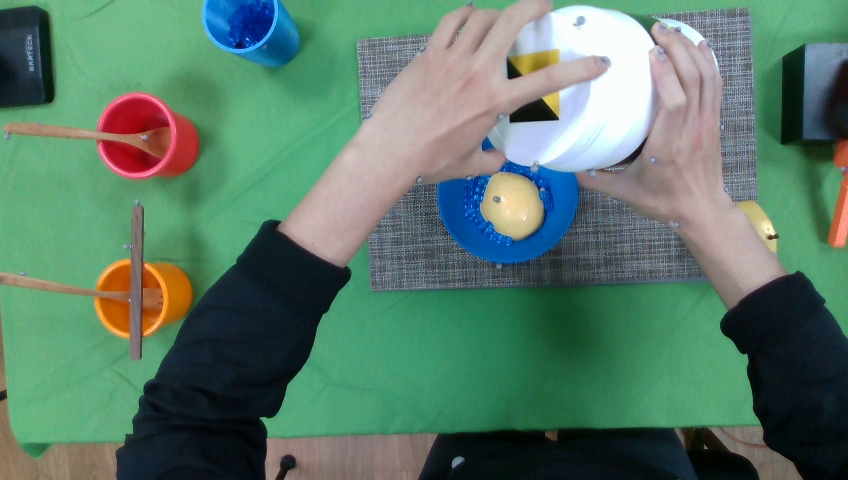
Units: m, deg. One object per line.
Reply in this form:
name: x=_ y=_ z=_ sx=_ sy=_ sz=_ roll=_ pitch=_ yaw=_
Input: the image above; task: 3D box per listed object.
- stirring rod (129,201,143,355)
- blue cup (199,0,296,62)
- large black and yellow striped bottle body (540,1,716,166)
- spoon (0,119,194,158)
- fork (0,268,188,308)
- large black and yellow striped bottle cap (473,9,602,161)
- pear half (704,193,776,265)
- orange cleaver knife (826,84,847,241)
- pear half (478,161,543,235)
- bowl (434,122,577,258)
stirring rod: x=-0.326 y=0.043 z=0.686 sx=0.014 sy=0.006 sz=0.176 roll=2 pitch=93 yaw=4
blue cup: x=-0.191 y=-0.245 z=0.688 sx=0.092 sy=0.100 sz=0.092 roll=0 pitch=92 yaw=8
large black and yellow striped bottle body: x=0.151 y=-0.133 z=0.524 sx=0.129 sy=0.185 sz=0.131 roll=16 pitch=111 yaw=48
spoon: x=-0.364 y=-0.122 z=0.689 sx=0.195 sy=0.021 sz=0.041 roll=1 pitch=95 yaw=-38
fork: x=-0.377 y=0.054 z=0.693 sx=0.209 sy=0.018 sz=0.028 roll=14 pitch=105 yaw=-39
large black and yellow striped bottle cap: x=0.084 y=-0.119 z=0.472 sx=0.114 sy=0.019 sz=0.115 roll=14 pitch=109 yaw=46
pear half: x=0.333 y=-0.008 z=0.638 sx=0.056 sy=0.110 sz=0.076 roll=-22 pitch=86 yaw=7
orange cleaver knife: x=0.450 y=-0.101 z=0.640 sx=0.012 sy=0.076 sz=0.213 roll=0 pitch=121 yaw=11
pear half: x=0.093 y=-0.050 z=0.670 sx=0.070 sy=0.031 sz=0.088 roll=-29 pitch=86 yaw=3
bowl: x=0.089 y=-0.057 z=0.676 sx=0.151 sy=0.077 sz=0.151 roll=0 pitch=92 yaw=6
